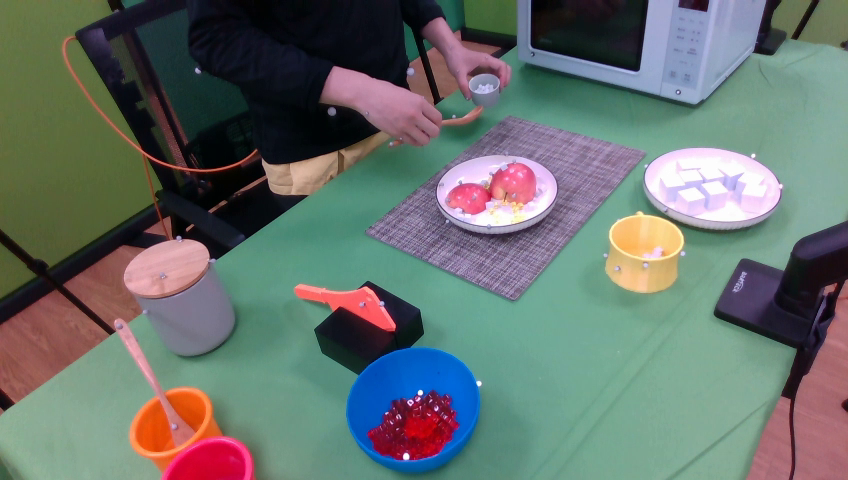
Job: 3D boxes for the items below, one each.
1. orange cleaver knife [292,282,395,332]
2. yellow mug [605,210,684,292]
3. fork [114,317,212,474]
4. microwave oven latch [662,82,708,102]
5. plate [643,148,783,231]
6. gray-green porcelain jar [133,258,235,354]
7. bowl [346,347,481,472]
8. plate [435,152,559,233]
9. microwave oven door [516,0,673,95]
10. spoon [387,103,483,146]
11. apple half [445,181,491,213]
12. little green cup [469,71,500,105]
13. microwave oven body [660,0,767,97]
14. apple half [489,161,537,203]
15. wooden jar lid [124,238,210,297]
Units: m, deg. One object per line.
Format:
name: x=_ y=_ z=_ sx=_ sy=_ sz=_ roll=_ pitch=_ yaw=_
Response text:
orange cleaver knife: x=-0.116 y=0.091 z=0.835 sx=0.209 sy=0.077 sz=0.012 roll=2 pitch=32 yaw=48
yellow mug: x=0.318 y=0.007 z=0.883 sx=0.100 sy=0.064 sz=0.130 roll=0 pitch=41 yaw=8
fork: x=-0.309 y=0.179 z=0.708 sx=0.028 sy=0.018 sz=0.207 roll=-30 pitch=89 yaw=-23
microwave oven latch: x=0.517 y=-0.298 z=1.202 sx=0.078 sy=0.029 sz=0.030 roll=27 pitch=52 yaw=35
plate: x=0.464 y=-0.080 z=0.986 sx=0.207 sy=0.039 sz=0.206 roll=-4 pitch=41 yaw=4
gray-green porcelain jar: x=-0.328 y=0.086 z=0.836 sx=0.106 sy=0.127 sz=0.105 roll=-4 pitch=41 yaw=4
bowl: x=-0.008 y=0.205 z=0.691 sx=0.151 sy=0.077 sz=0.150 roll=-4 pitch=40 yaw=4
plate: x=0.124 y=-0.078 z=1.026 sx=0.209 sy=0.038 sz=0.208 roll=-4 pitch=40 yaw=4
microwave oven door: x=0.344 y=-0.458 z=1.256 sx=0.353 sy=0.245 sz=0.039 roll=26 pitch=51 yaw=33
spoon: x=0.019 y=-0.192 z=0.997 sx=0.195 sy=0.021 sz=0.041 roll=-23 pitch=14 yaw=-25
apple half: x=0.076 y=-0.083 z=1.029 sx=0.081 sy=0.033 sz=0.081 roll=-2 pitch=42 yaw=2
little green cup: x=0.120 y=-0.299 z=1.194 sx=0.061 sy=0.039 sz=0.061 roll=-5 pitch=56 yaw=8
microwave oven body: x=0.473 y=-0.516 z=1.313 sx=0.438 sy=0.261 sz=0.327 roll=26 pitch=51 yaw=34
apple half: x=0.154 y=-0.106 z=1.030 sx=0.080 sy=0.053 sz=0.075 roll=21 pitch=46 yaw=31
wooden jar lid: x=-0.335 y=0.039 z=0.794 sx=0.108 sy=0.021 sz=0.108 roll=-2 pitch=40 yaw=2
